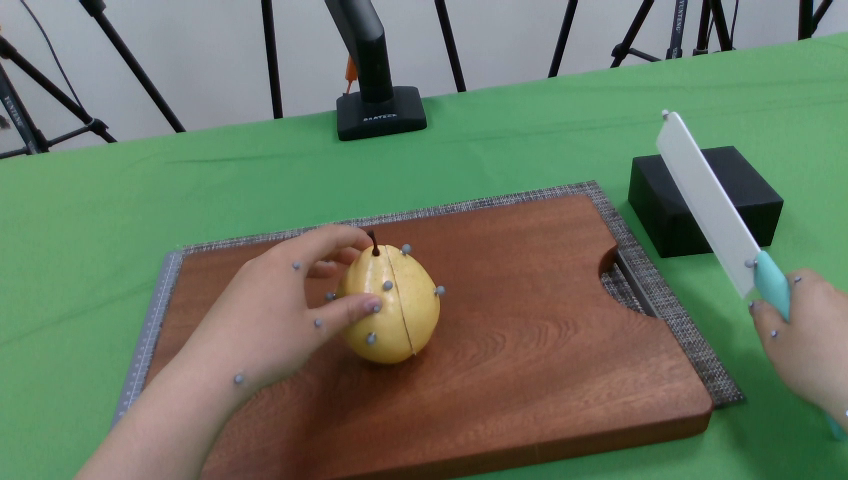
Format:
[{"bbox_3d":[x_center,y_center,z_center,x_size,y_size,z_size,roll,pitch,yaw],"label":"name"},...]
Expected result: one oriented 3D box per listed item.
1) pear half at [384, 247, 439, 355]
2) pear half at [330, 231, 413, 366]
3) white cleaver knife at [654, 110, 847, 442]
[{"bbox_3d":[-0.006,0.041,0.446,0.031,0.089,0.069,-14,30,-9],"label":"pear half"},{"bbox_3d":[-0.042,0.041,0.437,0.056,0.111,0.075,-14,34,-9],"label":"pear half"},{"bbox_3d":[0.247,0.014,0.471,0.021,0.066,0.283,-15,60,1],"label":"white cleaver knife"}]
